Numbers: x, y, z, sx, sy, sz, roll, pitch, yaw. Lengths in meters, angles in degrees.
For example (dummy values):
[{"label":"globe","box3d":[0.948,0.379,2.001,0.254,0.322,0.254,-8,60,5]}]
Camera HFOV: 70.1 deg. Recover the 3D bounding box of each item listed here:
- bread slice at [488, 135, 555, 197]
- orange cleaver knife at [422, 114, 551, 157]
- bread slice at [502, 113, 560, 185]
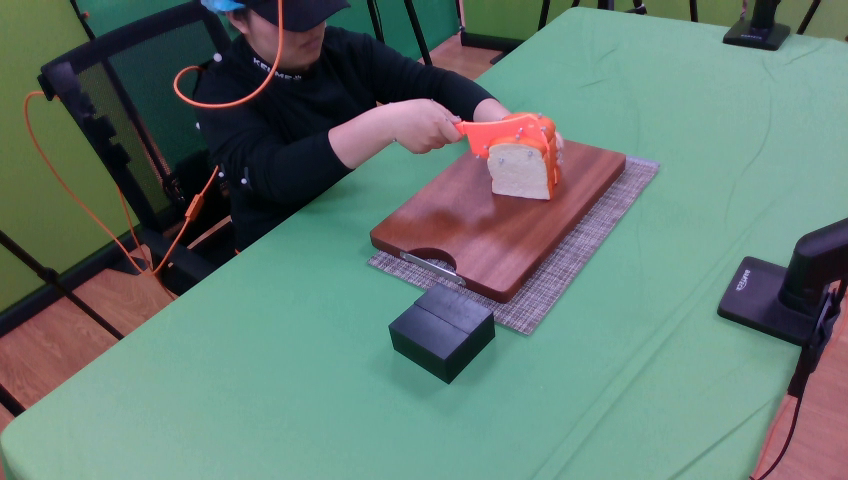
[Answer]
[{"label":"bread slice","box3d":[0.152,-0.117,0.970,0.104,0.132,0.019,7,57,21]},{"label":"orange cleaver knife","box3d":[0.097,-0.165,0.964,0.210,0.077,0.012,6,41,27]},{"label":"bread slice","box3d":[0.174,-0.149,1.004,0.106,0.135,0.018,11,47,18]}]
